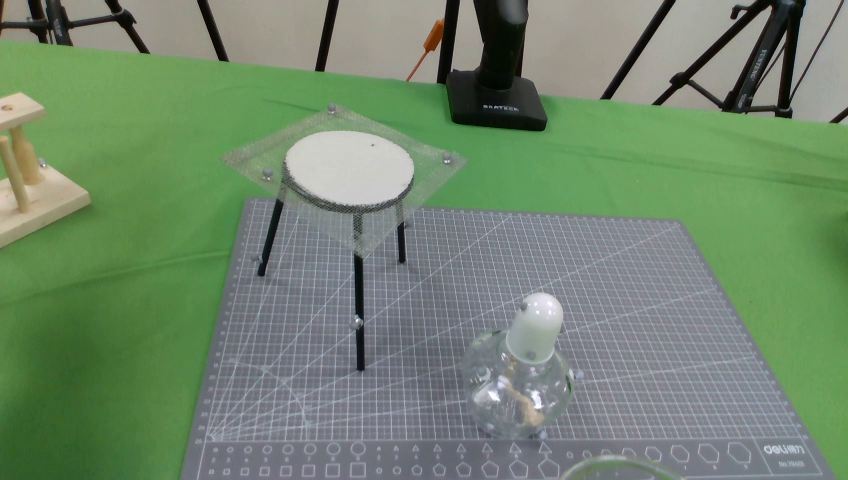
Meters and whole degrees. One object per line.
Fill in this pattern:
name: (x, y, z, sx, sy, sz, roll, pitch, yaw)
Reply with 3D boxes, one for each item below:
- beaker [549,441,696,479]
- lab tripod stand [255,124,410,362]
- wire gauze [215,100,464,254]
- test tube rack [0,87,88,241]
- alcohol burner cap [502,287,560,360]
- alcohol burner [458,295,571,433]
beaker: (0.076, 0.149, 0.256, 0.073, 0.101, 0.083, 18, 38, 14)
lab tripod stand: (-0.060, -0.005, 0.454, 0.149, 0.132, 0.147, 7, 42, -6)
wire gauze: (-0.053, -0.054, 0.408, 0.124, 0.011, 0.121, 31, 46, 19)
test tube rack: (-0.389, -0.024, 0.446, 0.066, 0.086, 0.242, 30, 45, 20)
alcohol burner cap: (0.069, 0.050, 0.381, 0.034, 0.048, 0.033, 4, 47, -4)
alcohol burner: (0.064, 0.076, 0.406, 0.078, 0.120, 0.077, 7, 41, -6)
